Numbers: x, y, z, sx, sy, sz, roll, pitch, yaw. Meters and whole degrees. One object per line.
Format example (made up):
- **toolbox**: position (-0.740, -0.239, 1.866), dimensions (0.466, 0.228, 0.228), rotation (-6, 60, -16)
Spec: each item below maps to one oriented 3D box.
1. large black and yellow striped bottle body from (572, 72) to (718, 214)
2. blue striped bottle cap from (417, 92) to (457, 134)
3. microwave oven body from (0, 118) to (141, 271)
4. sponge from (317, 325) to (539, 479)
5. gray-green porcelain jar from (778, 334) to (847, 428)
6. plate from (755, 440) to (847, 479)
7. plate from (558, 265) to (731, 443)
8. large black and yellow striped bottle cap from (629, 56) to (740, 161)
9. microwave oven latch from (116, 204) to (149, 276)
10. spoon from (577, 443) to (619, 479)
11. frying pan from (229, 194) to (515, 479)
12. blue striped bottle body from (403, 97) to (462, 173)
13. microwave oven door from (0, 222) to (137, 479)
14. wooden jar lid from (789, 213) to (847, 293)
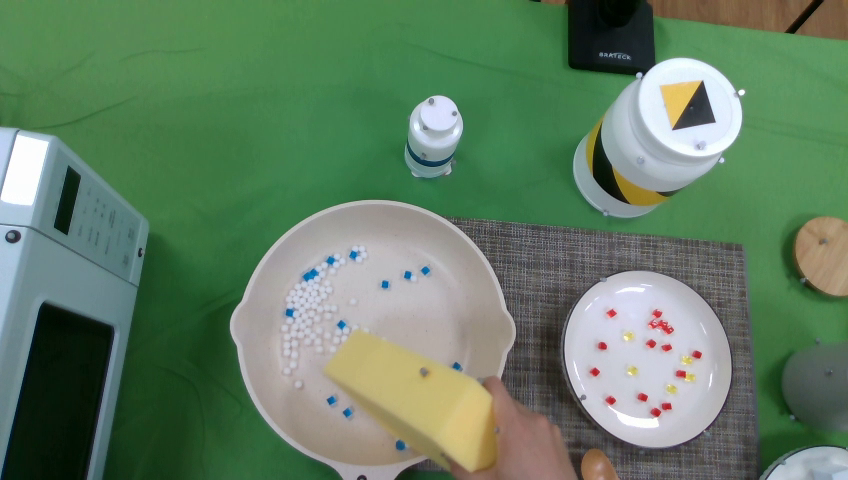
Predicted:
- **large black and yellow striped bottle body**: position (0.265, -0.118, 0.719), dimensions (0.131, 0.184, 0.130), rotation (2, 75, -6)
- **blue striped bottle cap**: position (0.015, -0.142, 0.675), dimensions (0.044, 0.021, 0.044), rotation (2, 73, -5)
- **microwave oven body**: position (-0.480, 0.131, 0.526), dimensions (0.326, 0.261, 0.439), rotation (6, 76, -5)
- **sponge**: position (-0.005, 0.161, 0.589), dimensions (0.061, 0.205, 0.119), rotation (-51, 121, -19)
- **gray-green porcelain jar**: position (0.491, 0.164, 0.704), dimensions (0.106, 0.127, 0.105), rotation (2, 75, -6)
- **plate**: position (0.468, 0.339, 0.704), dimensions (0.208, 0.039, 0.206), rotation (2, 75, -6)
- **plate**: position (0.259, 0.134, 0.727), dimensions (0.209, 0.038, 0.208), rotation (2, 76, -6)
- **large black and yellow striped bottle cap**: position (0.274, -0.139, 0.637), dimensions (0.115, 0.019, 0.114), rotation (2, 74, -6)
- **microwave oven latch**: position (-0.330, -0.001, 0.676), dimensions (0.030, 0.029, 0.079), rotation (8, 76, -5)
- **spoon**: position (0.244, 0.308, 0.691), dimensions (0.193, 0.022, 0.041), rotation (45, 58, 4)
- **frying pan**: position (-0.059, 0.191, 0.642), dimensions (0.307, 0.103, 0.484), rotation (4, 67, -3)
- **blue striped bottle body**: position (0.010, -0.130, 0.724), dimensions (0.063, 0.121, 0.062), rotation (2, 75, -6)
- **microwave oven door**: position (-0.338, 0.184, 0.523), dimensions (0.039, 0.244, 0.354), rotation (5, 75, -5)
- **wooden jar lid**: position (0.533, 0.017, 0.801), dimensions (0.108, 0.021, 0.108), rotation (1, 77, -6)
